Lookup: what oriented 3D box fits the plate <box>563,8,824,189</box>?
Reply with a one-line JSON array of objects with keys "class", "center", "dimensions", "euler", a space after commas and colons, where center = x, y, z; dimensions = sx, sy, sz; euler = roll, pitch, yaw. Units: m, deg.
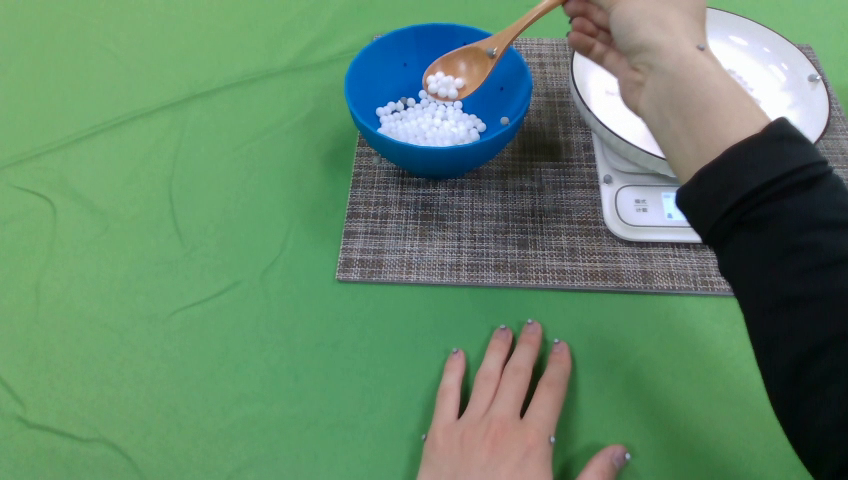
[{"class": "plate", "center": [0.219, -0.119, 0.511], "dimensions": [0.209, 0.038, 0.207], "euler": [0, 55, 0]}]

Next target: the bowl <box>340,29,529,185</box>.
[{"class": "bowl", "center": [0.009, -0.100, 0.511], "dimensions": [0.151, 0.077, 0.150], "euler": [0, 54, 1]}]

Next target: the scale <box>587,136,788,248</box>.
[{"class": "scale", "center": [0.218, -0.082, 0.525], "dimensions": [0.148, 0.032, 0.199], "euler": [1, 55, 2]}]

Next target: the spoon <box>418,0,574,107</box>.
[{"class": "spoon", "center": [0.079, -0.159, 0.446], "dimensions": [0.194, 0.022, 0.041], "euler": [-32, 69, 17]}]
